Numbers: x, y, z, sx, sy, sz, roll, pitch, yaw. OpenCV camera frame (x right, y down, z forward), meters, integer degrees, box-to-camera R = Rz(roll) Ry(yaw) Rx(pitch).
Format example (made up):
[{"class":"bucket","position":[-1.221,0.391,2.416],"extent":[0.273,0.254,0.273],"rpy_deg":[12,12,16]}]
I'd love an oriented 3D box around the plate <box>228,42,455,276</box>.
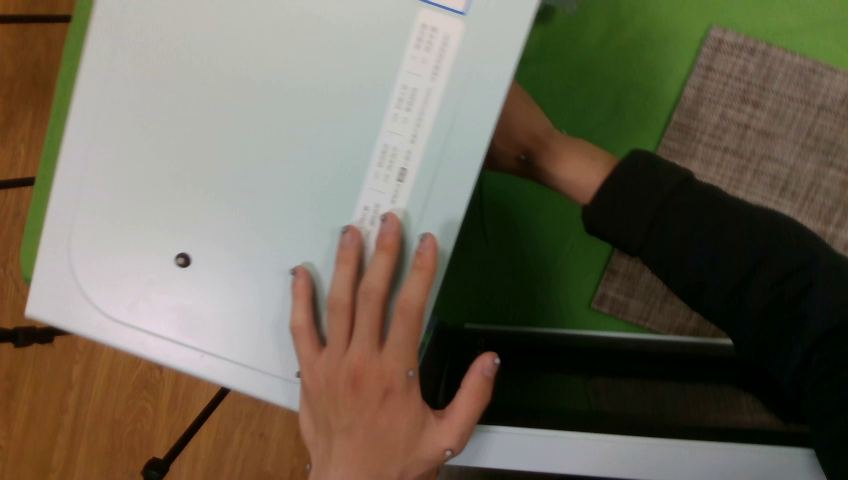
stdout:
[{"class":"plate","position":[-0.074,-0.071,0.557],"extent":[0.207,0.039,0.208],"rpy_deg":[1,99,6]}]

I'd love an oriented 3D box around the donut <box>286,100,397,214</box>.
[{"class":"donut","position":[-0.071,-0.071,0.527],"extent":[0.099,0.048,0.099],"rpy_deg":[1,102,4]}]

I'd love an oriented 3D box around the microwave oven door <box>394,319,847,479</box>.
[{"class":"microwave oven door","position":[0.168,0.123,0.505],"extent":[0.355,0.243,0.039],"rpy_deg":[2,98,6]}]

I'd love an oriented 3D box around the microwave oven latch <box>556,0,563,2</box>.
[{"class":"microwave oven latch","position":[0.128,-0.262,0.551],"extent":[0.030,0.029,0.079],"rpy_deg":[19,101,2]}]

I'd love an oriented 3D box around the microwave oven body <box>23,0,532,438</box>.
[{"class":"microwave oven body","position":[-0.076,-0.129,0.495],"extent":[0.326,0.259,0.442],"rpy_deg":[18,101,2]}]

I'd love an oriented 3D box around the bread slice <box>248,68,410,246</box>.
[{"class":"bread slice","position":[-0.087,-0.071,0.500],"extent":[0.105,0.019,0.132],"rpy_deg":[-25,98,10]}]

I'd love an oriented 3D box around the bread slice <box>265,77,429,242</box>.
[{"class":"bread slice","position":[-0.078,-0.078,0.556],"extent":[0.107,0.018,0.135],"rpy_deg":[-38,106,2]}]
